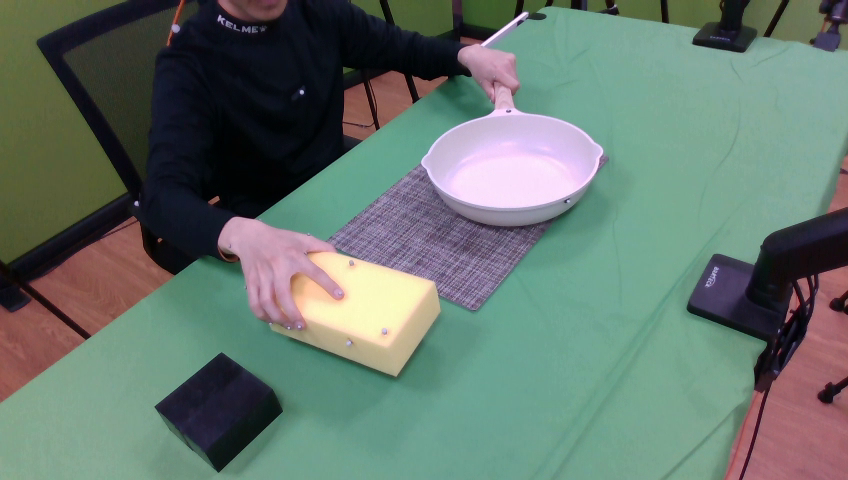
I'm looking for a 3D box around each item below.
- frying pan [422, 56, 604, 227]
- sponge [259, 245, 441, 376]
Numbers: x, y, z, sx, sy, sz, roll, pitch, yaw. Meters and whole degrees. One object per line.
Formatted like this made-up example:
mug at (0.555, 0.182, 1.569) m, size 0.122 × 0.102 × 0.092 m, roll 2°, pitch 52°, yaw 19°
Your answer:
frying pan at (0.155, -0.199, 1.111) m, size 0.307 × 0.103 × 0.485 m, roll -2°, pitch 49°, yaw 5°
sponge at (-0.098, 0.088, 0.805) m, size 0.205 × 0.061 × 0.118 m, roll 14°, pitch 48°, yaw 26°
